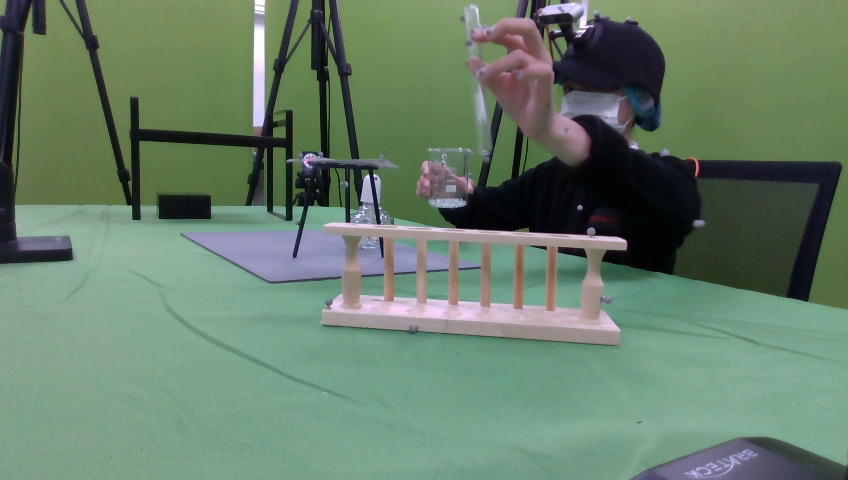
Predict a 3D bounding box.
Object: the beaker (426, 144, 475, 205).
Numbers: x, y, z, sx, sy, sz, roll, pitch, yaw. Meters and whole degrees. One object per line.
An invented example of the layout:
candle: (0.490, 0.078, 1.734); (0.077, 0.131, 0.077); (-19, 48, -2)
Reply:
beaker: (0.045, -0.112, 1.032); (0.084, 0.100, 0.074); (-1, 11, -2)

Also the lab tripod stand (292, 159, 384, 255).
lab tripod stand: (-0.105, -0.039, 0.797); (0.148, 0.131, 0.148); (2, 5, 0)

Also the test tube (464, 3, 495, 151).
test tube: (0.056, -0.164, 0.609); (0.017, 0.150, 0.017); (-6, -3, 0)

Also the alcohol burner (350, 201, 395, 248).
alcohol burner: (-0.084, -0.048, 0.953); (0.078, 0.119, 0.078); (1, 6, 0)

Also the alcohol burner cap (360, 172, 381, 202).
alcohol burner cap: (-0.081, -0.084, 0.949); (0.034, 0.048, 0.034); (7, 7, -1)

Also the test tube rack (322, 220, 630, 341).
test tube rack: (0.041, 0.029, 0.512); (0.242, 0.085, 0.067); (3, 7, 5)

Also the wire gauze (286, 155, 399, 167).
wire gauze: (-0.101, -0.105, 0.788); (0.121, 0.011, 0.125); (4, 6, 6)
